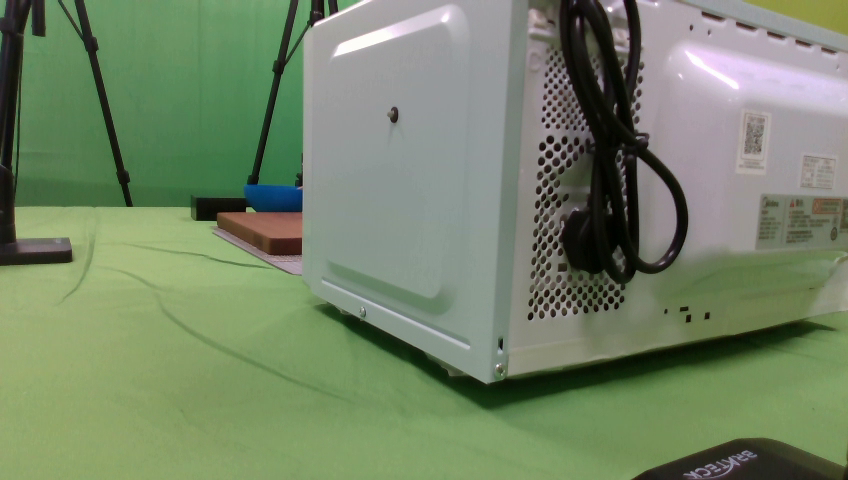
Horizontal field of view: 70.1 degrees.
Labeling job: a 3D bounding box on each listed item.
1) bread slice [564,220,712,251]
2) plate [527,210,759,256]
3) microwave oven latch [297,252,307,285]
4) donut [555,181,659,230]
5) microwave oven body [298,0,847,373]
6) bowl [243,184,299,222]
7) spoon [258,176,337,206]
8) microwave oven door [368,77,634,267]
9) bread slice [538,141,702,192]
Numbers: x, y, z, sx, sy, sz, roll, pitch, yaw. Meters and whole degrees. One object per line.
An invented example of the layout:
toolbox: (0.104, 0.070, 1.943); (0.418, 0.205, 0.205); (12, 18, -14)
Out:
bread slice: (0.207, -0.006, 0.576); (0.105, 0.019, 0.131); (2, 6, -9)
plate: (0.203, -0.009, 0.580); (0.208, 0.039, 0.207); (0, 3, 0)
microwave oven latch: (-0.082, 0.027, 0.583); (0.079, 0.029, 0.030); (-1, 7, -32)
donut: (0.180, -0.033, 0.597); (0.099, 0.048, 0.099); (-2, 7, 1)
microwave oven body: (0.151, -0.055, 0.543); (0.444, 0.260, 0.324); (-1, 8, -33)
bowl: (-0.321, -0.081, 1.334); (0.151, 0.077, 0.151); (3, 7, 0)
spoon: (-0.279, -0.112, 1.357); (0.194, 0.021, 0.041); (-28, 19, -27)
microwave oven door: (0.094, -0.099, 0.832); (0.355, 0.243, 0.039); (5, 8, 18)
bread slice: (0.192, -0.071, 0.579); (0.107, 0.018, 0.133); (-1, 19, -34)
